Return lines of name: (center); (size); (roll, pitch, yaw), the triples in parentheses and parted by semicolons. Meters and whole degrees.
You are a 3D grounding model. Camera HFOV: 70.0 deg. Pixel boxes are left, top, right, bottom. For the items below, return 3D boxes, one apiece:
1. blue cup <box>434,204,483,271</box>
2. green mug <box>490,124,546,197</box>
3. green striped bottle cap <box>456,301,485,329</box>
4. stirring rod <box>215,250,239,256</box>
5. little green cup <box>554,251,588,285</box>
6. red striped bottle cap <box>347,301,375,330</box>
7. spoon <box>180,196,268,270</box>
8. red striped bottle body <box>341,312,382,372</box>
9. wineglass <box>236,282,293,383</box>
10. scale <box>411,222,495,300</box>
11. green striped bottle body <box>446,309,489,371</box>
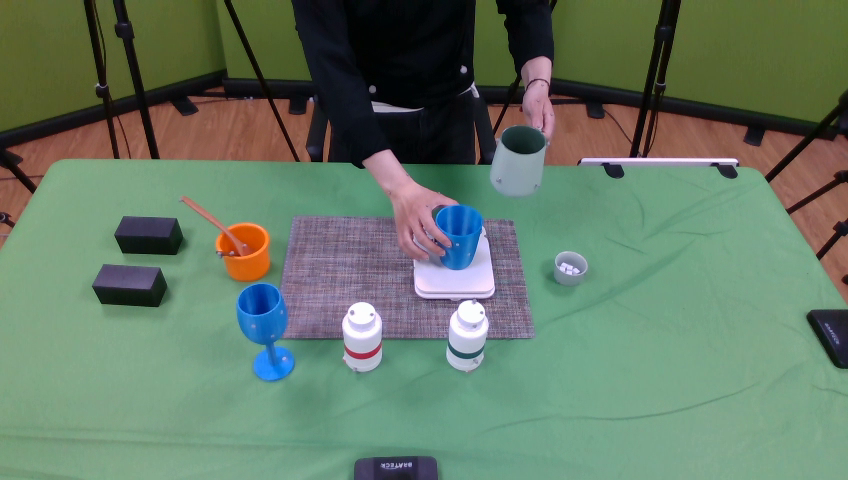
blue cup: (0.060, 0.001, 1.098); (0.092, 0.101, 0.092); (0, 43, 0)
green mug: (0.173, -0.147, 1.061); (0.092, 0.105, 0.125); (25, 53, 18)
green striped bottle cap: (0.073, 0.116, 0.943); (0.044, 0.020, 0.044); (3, 46, -3)
stirring rod: (-0.339, 0.024, 1.059); (0.014, 0.176, 0.006); (18, 86, -6)
little green cup: (0.277, 0.055, 1.151); (0.061, 0.039, 0.061); (1, 46, -1)
red striped bottle cap: (-0.097, 0.116, 0.934); (0.044, 0.018, 0.044); (2, 48, -2)
spoon: (-0.360, -0.014, 1.094); (0.021, 0.194, 0.041); (-27, 26, 31)
red striped bottle body: (-0.100, 0.154, 0.972); (0.063, 0.120, 0.062); (2, 46, -1)
wineglass: (-0.243, 0.143, 0.934); (0.074, 0.173, 0.073); (2, 46, -2)
scale: (0.052, 0.031, 1.158); (0.149, 0.032, 0.199); (1, 46, -4)
green striped bottle body: (0.070, 0.155, 0.984); (0.063, 0.120, 0.063); (2, 46, -2)
